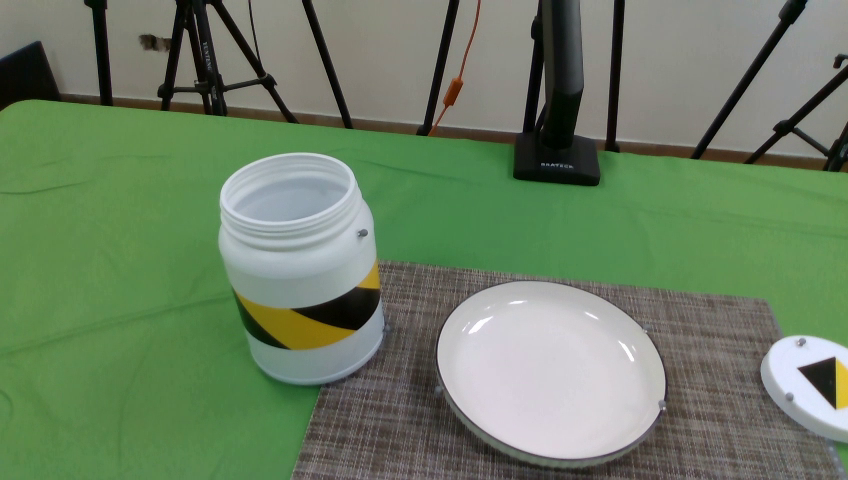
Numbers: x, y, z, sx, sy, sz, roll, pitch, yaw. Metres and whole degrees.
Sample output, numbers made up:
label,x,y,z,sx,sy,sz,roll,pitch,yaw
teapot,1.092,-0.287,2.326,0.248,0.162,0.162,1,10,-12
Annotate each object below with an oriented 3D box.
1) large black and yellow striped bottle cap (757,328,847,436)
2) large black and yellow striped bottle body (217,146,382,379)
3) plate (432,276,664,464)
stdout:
label,x,y,z,sx,sy,sz,roll,pitch,yaw
large black and yellow striped bottle cap,0.376,0.130,0.571,0.115,0.019,0.114,4,41,-3
large black and yellow striped bottle body,-0.109,0.021,0.548,0.131,0.185,0.129,-1,39,1
plate,0.111,0.116,0.558,0.208,0.039,0.205,2,39,-1
